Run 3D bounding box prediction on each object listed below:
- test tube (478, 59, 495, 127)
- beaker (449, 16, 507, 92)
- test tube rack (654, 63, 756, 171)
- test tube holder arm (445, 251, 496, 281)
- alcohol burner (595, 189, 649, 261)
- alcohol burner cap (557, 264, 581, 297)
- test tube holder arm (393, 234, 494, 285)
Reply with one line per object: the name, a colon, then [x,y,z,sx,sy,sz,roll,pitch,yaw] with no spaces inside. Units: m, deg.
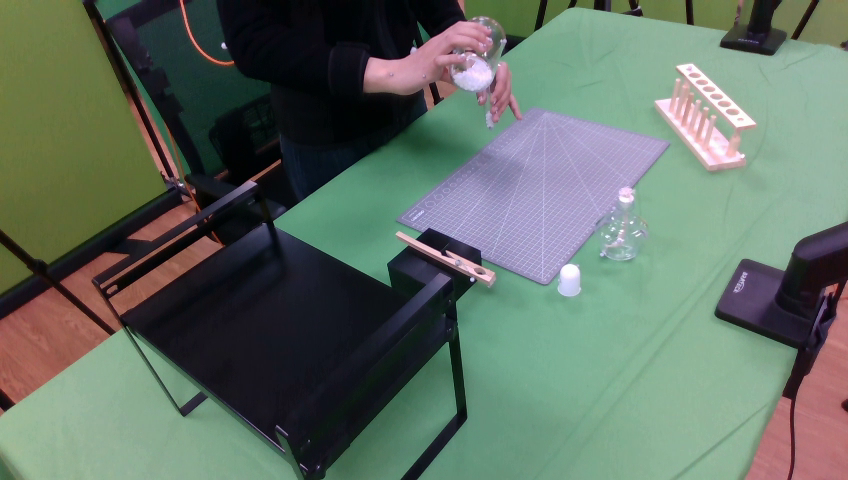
test tube: [0.109,-0.248,1.040,0.017,0.151,0.017,-5,57,9]
beaker: [0.081,-0.279,0.921,0.074,0.084,0.100,9,50,12]
test tube rack: [0.510,-0.233,1.120,0.067,0.085,0.241,-8,41,-1]
test tube holder arm: [0.063,0.036,0.851,0.087,0.015,0.010,23,57,32]
alcohol burner: [0.294,-0.028,0.894,0.078,0.119,0.077,-4,43,4]
alcohol burner cap: [0.208,0.055,0.866,0.034,0.048,0.033,-4,42,4]
test tube holder arm: [0.024,0.025,0.872,0.177,0.015,0.013,22,56,31]
